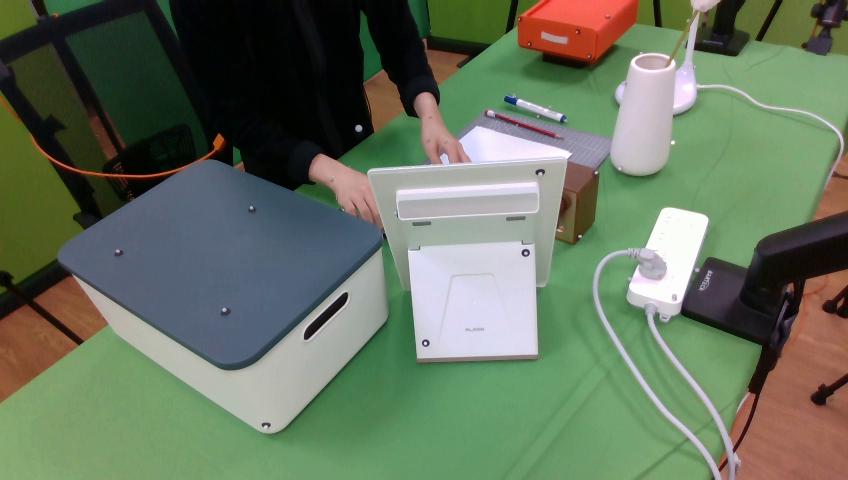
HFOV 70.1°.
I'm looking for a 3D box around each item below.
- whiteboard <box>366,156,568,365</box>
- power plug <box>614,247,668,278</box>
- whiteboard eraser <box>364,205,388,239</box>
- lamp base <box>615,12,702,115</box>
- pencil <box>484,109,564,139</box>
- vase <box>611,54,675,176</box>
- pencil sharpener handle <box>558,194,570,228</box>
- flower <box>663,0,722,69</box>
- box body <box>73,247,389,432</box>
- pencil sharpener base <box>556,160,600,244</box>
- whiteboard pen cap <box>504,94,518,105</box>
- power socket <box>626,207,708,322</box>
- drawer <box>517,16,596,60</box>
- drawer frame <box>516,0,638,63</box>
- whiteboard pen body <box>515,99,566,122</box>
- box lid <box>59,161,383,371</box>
[{"bbox_3d":[0.059,0.050,0.738,0.217,0.307,0.143,-2,60,6],"label":"whiteboard"},{"bbox_3d":[0.306,0.031,0.851,0.072,0.053,0.035,24,49,33],"label":"power plug"},{"bbox_3d":[-0.040,-0.025,0.992,0.112,0.042,0.056,22,54,30],"label":"whiteboard eraser"},{"bbox_3d":[0.484,-0.364,1.211,0.180,0.181,0.159,-15,41,-14],"label":"lamp base"},{"bbox_3d":[0.201,-0.235,1.229,0.192,0.012,0.012,28,51,32],"label":"pencil"},{"bbox_3d":[0.377,-0.209,1.031,0.098,0.201,0.097,-3,40,3],"label":"vase"},{"bbox_3d":[0.195,-0.038,0.908,0.035,0.068,0.031,24,50,30],"label":"pencil sharpener handle"},{"bbox_3d":[0.379,-0.261,0.965,0.044,0.362,0.038,20,53,5],"label":"flower"},{"bbox_3d":[-0.255,0.065,0.827,0.361,0.161,0.255,21,48,29],"label":"box body"},{"bbox_3d":[0.228,-0.057,0.945,0.061,0.107,0.077,24,50,31],"label":"pencil sharpener base"},{"bbox_3d":[0.190,-0.299,1.292,0.033,0.018,0.018,30,52,28],"label":"whiteboard pen cap"},{"bbox_3d":[0.359,0.025,0.886,0.072,0.033,0.227,16,46,26],"label":"power socket"},{"bbox_3d":[0.353,-0.506,1.405,0.193,0.073,0.212,23,49,32],"label":"drawer"},{"bbox_3d":[0.355,-0.508,1.411,0.200,0.083,0.214,23,51,32],"label":"drawer frame"},{"bbox_3d":[0.234,-0.274,1.262,0.139,0.017,0.017,28,51,29],"label":"whiteboard pen body"},{"bbox_3d":[-0.262,0.010,0.777,0.369,0.015,0.264,21,48,29],"label":"box lid"}]
